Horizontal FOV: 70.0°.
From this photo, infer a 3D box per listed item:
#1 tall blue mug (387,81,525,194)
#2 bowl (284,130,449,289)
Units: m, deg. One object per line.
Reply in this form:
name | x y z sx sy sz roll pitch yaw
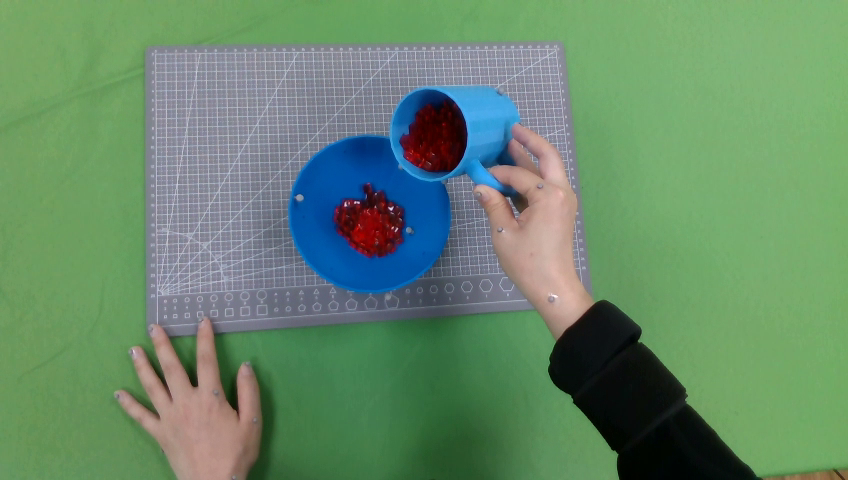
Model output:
tall blue mug | 0.041 -0.093 0.524 0.106 0.108 0.078 23 113 24
bowl | -0.055 -0.022 0.590 0.152 0.077 0.151 1 81 -7
